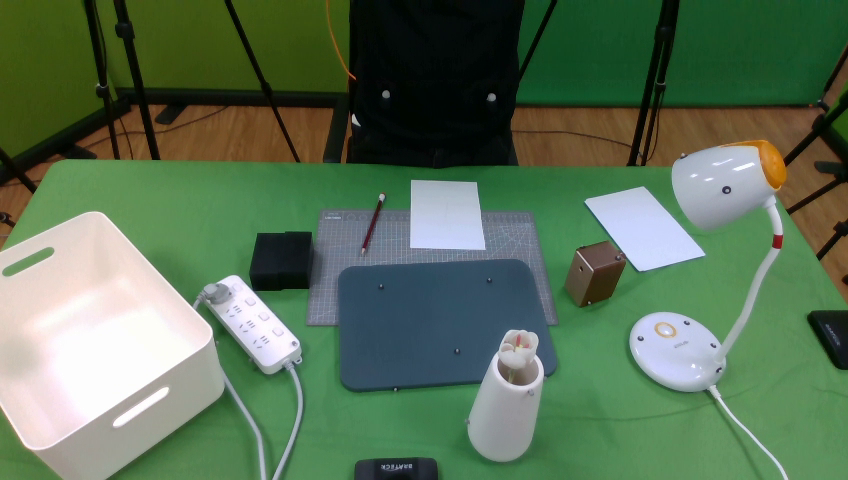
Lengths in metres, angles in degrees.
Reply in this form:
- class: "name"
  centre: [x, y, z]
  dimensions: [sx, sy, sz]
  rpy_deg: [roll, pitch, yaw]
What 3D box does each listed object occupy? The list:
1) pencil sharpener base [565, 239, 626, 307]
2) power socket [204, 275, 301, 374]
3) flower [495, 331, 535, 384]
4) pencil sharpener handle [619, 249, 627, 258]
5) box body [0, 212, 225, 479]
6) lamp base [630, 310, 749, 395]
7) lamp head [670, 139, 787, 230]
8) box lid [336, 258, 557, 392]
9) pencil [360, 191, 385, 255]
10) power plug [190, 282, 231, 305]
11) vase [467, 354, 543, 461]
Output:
- class: "pencil sharpener base"
  centre: [0.313, 0.060, 1.104]
  dimensions: [0.077, 0.107, 0.061]
  rpy_deg: [-15, 49, -18]
- class: "power socket"
  centre: [-0.296, 0.140, 1.035]
  dimensions: [0.072, 0.033, 0.225]
  rpy_deg: [-33, 57, -29]
- class: "flower"
  centre: [0.110, 0.187, 0.791]
  dimensions: [0.044, 0.363, 0.038]
  rpy_deg: [-31, 65, -10]
- class: "pencil sharpener handle"
  centre: [0.359, 0.036, 1.112]
  dimensions: [0.031, 0.068, 0.036]
  rpy_deg: [-15, 61, -18]
- class: "box body"
  centre: [-0.504, 0.154, 0.916]
  dimensions: [0.362, 0.161, 0.254]
  rpy_deg: [36, 54, 27]
- class: "lamp base"
  centre: [0.447, 0.143, 0.984]
  dimensions: [0.161, 0.181, 0.178]
  rpy_deg: [-24, 55, -24]
- class: "lamp head"
  centre: [0.415, -0.078, 0.811]
  dimensions: [0.113, 0.123, 0.112]
  rpy_deg: [12, 70, -37]
- class: "box lid"
  centre: [0.030, 0.140, 1.073]
  dimensions: [0.372, 0.015, 0.261]
  rpy_deg: [-3, 47, -7]
- class: "pencil"
  centre: [-0.105, -0.037, 1.229]
  dimensions: [0.012, 0.012, 0.193]
  rpy_deg: [10, 45, 5]
- class: "power plug"
  centre: [-0.368, 0.097, 1.039]
  dimensions: [0.072, 0.053, 0.035]
  rpy_deg: [-26, 56, -20]
- class: "vase"
  centre: [0.116, 0.234, 0.860]
  dimensions: [0.098, 0.201, 0.097]
  rpy_deg: [1, 47, -1]
